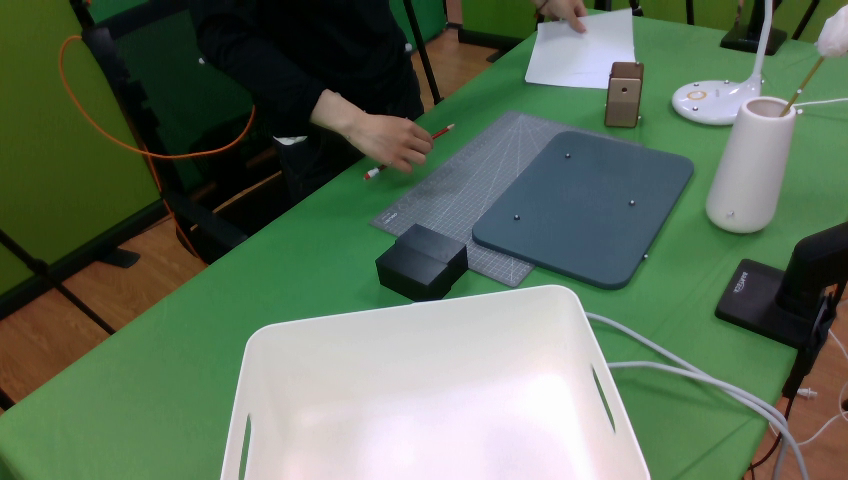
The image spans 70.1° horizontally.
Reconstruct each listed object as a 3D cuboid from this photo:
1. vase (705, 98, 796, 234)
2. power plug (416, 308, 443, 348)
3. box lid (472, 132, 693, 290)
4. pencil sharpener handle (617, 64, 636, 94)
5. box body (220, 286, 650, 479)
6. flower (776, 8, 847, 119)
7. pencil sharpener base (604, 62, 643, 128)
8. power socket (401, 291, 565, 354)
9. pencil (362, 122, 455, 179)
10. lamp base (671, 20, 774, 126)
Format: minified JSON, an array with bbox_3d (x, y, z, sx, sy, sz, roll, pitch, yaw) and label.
[{"bbox_3d":[0.480,-0.104,0.889,0.098,0.201,0.097,-4,42,4],"label":"vase"},{"bbox_3d":[0.005,0.121,0.787,0.035,0.053,0.072,2,46,8],"label":"power plug"},{"bbox_3d":[0.273,-0.068,1.020,0.261,0.015,0.372,20,47,28],"label":"box lid"},{"bbox_3d":[0.401,-0.327,1.211,0.036,0.068,0.030,17,44,8],"label":"pencil sharpener handle"},{"bbox_3d":[0.006,0.210,0.618,0.364,0.161,0.252,-8,40,-1],"label":"box body"},{"bbox_3d":[0.476,-0.156,0.822,0.038,0.362,0.044,7,58,2],"label":"flower"},{"bbox_3d":[0.390,-0.284,1.182,0.061,0.107,0.076,7,42,17],"label":"pencil sharpener base"},{"bbox_3d":[0.079,0.111,0.823,0.227,0.033,0.072,-5,41,1],"label":"power socket"},{"bbox_3d":[-0.026,-0.162,1.080,0.194,0.012,0.012,-31,43,-3],"label":"pencil"},{"bbox_3d":[0.581,-0.332,1.154,0.179,0.181,0.160,2,41,7],"label":"lamp base"}]
